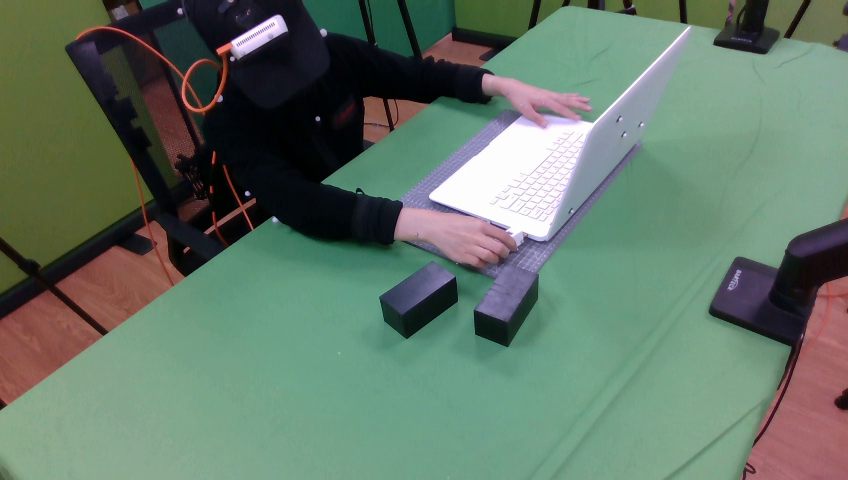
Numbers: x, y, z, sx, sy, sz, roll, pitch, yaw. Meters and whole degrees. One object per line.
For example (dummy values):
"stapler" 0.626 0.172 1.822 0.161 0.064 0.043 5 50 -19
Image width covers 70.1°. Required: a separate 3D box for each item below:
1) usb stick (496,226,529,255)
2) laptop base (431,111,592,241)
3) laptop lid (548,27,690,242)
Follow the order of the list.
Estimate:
"usb stick" 0.140 -0.003 0.940 0.059 0.027 0.021 -29 40 -27
"laptop base" 0.207 -0.129 1.100 0.233 0.023 0.355 20 48 34
"laptop lid" 0.309 -0.168 0.949 0.013 0.242 0.358 33 52 20
